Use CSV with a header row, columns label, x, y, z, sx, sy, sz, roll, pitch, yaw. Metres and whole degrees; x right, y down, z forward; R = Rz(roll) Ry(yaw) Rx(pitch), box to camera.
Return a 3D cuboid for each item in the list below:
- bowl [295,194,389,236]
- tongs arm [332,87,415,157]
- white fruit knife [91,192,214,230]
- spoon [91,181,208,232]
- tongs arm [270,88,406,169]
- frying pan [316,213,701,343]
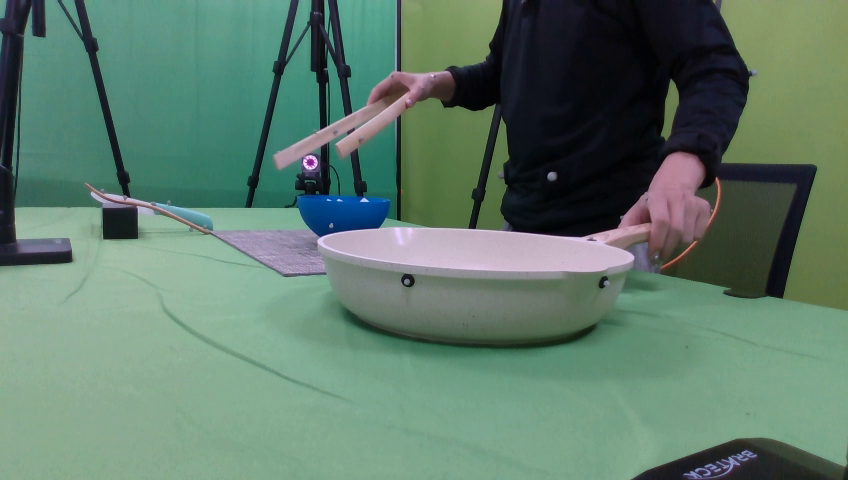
label,x,y,z,sx,sy,sz,roll,pitch,yaw
bowl,-0.132,-0.032,0.980,0.151,0.077,0.151,2,7,0
tongs arm,-0.079,-0.219,1.078,0.028,0.028,0.388,-14,21,24
white fruit knife,-0.477,-0.055,1.077,0.208,0.027,0.016,15,-5,-30
spoon,-0.461,-0.053,1.023,0.195,0.021,0.041,21,25,-24
tongs arm,-0.140,-0.213,1.110,0.050,0.026,0.386,-6,23,32
frying pan,0.133,0.013,0.629,0.490,0.102,0.305,-12,14,-30
